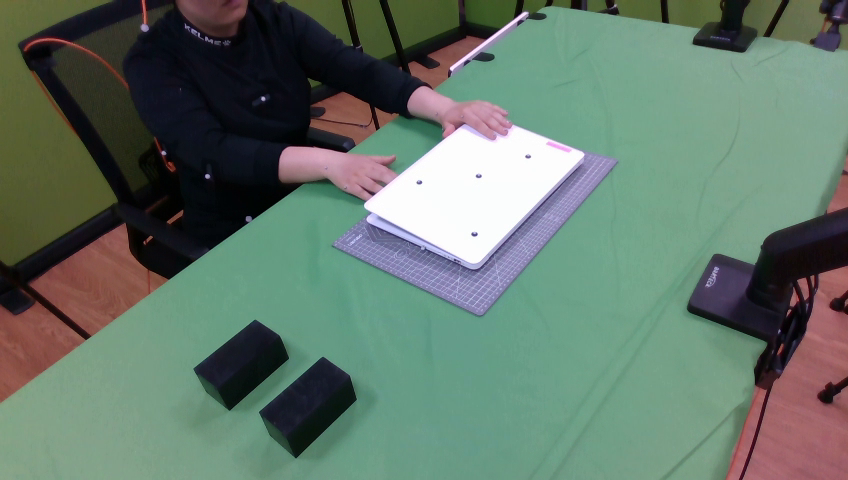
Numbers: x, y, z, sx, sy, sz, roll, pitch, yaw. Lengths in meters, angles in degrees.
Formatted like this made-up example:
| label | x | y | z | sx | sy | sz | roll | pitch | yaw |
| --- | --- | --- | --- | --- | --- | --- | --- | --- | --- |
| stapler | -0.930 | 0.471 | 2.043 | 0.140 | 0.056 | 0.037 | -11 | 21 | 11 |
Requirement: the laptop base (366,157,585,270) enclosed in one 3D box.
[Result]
| label | x | y | z | sx | sy | sz | roll | pitch | yaw |
| --- | --- | --- | --- | --- | --- | --- | --- | --- | --- |
| laptop base | 0.098 | -0.086 | 1.059 | 0.233 | 0.023 | 0.355 | 21 | 48 | 34 |

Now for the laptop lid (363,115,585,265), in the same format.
| label | x | y | z | sx | sy | sz | roll | pitch | yaw |
| --- | --- | --- | --- | --- | --- | --- | --- | --- | --- |
| laptop lid | 0.094 | -0.105 | 1.044 | 0.240 | 0.013 | 0.358 | 29 | 51 | 28 |
